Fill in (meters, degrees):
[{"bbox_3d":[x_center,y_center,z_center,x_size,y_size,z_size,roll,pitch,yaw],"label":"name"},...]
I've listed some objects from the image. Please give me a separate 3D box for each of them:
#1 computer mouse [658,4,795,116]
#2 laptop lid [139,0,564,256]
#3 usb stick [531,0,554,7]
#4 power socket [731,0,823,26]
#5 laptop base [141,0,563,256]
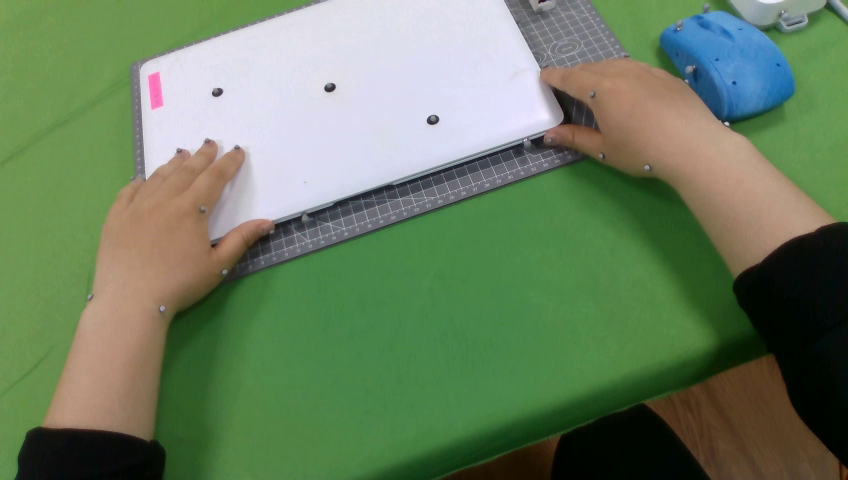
[{"bbox_3d":[0.243,-0.153,0.492,0.063,0.041,0.116,-20,55,2],"label":"computer mouse"},{"bbox_3d":[-0.082,-0.136,0.540,0.357,0.013,0.239,-17,61,1],"label":"laptop lid"},{"bbox_3d":[0.105,-0.251,0.577,0.021,0.027,0.058,-18,56,3],"label":"usb stick"},{"bbox_3d":[0.289,-0.284,0.560,0.072,0.033,0.224,-17,59,2],"label":"power socket"},{"bbox_3d":[-0.081,-0.133,0.551,0.354,0.023,0.233,-19,62,-1],"label":"laptop base"}]
